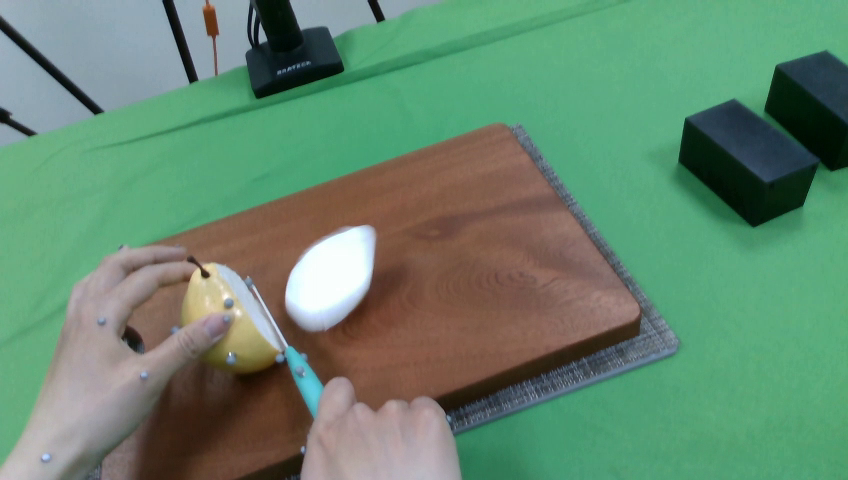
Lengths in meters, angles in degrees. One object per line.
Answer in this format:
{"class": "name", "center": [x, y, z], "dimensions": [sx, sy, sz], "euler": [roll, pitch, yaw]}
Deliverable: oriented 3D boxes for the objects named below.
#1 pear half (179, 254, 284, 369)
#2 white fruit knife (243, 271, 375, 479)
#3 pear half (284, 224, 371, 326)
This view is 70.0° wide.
{"class": "pear half", "center": [-0.149, 0.051, 0.430], "dimensions": [0.056, 0.111, 0.075], "euler": [-36, 46, -14]}
{"class": "white fruit knife", "center": [-0.091, 0.084, 0.432], "dimensions": [0.016, 0.028, 0.205], "euler": [-33, 50, -14]}
{"class": "pear half", "center": [-0.069, 0.030, 0.478], "dimensions": [0.070, 0.031, 0.088], "euler": [32, 77, 26]}
